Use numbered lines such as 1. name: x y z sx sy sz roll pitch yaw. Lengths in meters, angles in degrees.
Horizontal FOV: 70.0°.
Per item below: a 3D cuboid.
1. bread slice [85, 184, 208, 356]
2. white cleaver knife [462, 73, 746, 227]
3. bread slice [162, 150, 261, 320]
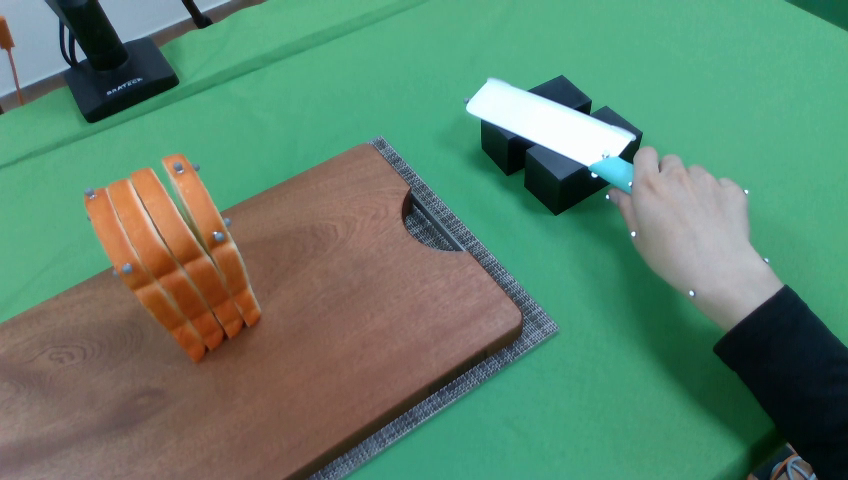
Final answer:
1. bread slice: -0.215 0.018 0.470 0.018 0.135 0.106 -32 53 -15
2. white cleaver knife: 0.159 -0.095 0.562 0.284 0.022 0.066 33 63 24
3. bread slice: -0.169 -0.007 0.485 0.019 0.133 0.104 -29 56 -21
